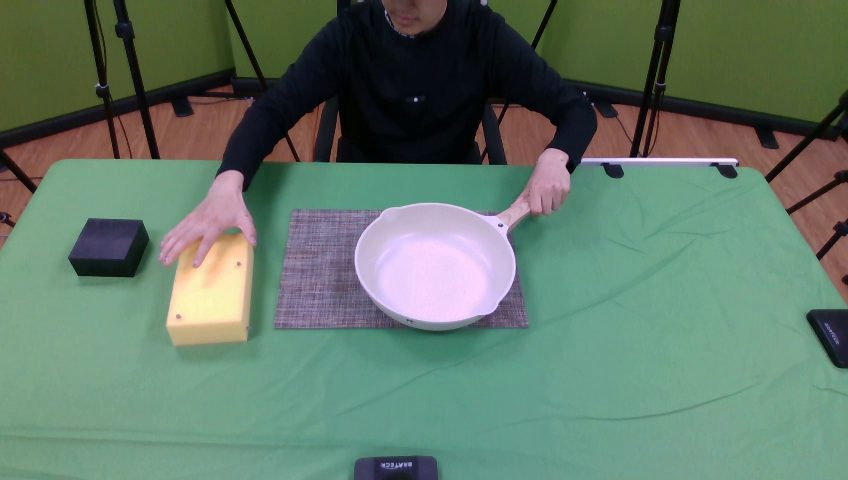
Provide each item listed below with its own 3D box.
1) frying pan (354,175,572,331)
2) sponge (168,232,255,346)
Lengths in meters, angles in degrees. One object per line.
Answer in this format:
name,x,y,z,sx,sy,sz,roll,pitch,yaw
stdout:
frying pan,0.103,-0.001,1.142,0.488,0.103,0.305,-32,56,-20
sponge,-0.368,0.081,1.065,0.118,0.061,0.205,-4,47,-7
